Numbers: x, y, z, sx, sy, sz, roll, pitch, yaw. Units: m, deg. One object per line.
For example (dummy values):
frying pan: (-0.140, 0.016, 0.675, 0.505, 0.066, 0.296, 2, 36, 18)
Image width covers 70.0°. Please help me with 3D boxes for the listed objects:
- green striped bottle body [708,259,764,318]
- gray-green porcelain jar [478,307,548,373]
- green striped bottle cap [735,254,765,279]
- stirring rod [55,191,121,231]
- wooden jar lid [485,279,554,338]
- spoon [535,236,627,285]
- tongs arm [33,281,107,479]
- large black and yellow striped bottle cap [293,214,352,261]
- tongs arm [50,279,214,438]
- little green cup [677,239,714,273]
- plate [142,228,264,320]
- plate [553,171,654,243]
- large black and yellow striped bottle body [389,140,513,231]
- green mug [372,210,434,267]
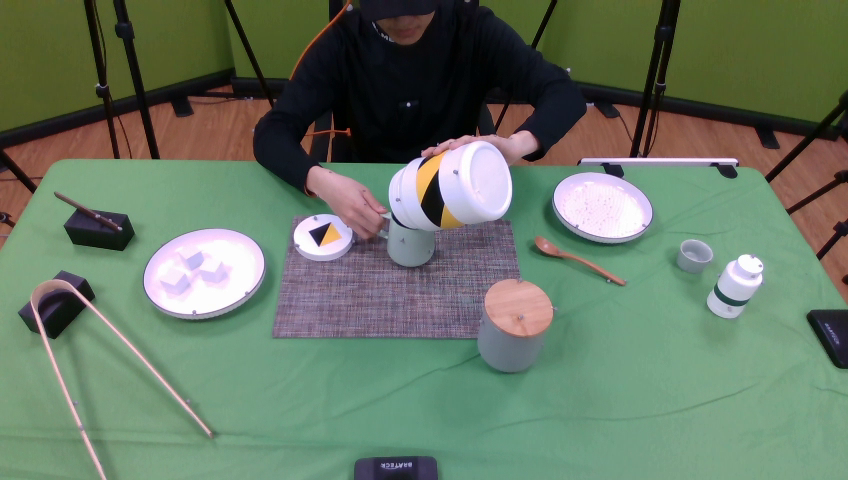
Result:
green striped bottle body: (0.563, 0.081, 1.089, 0.063, 0.120, 0.063, 2, 46, -2)
gray-green porcelain jar: (0.144, 0.148, 0.989, 0.106, 0.127, 0.105, 2, 50, -2)
green striped bottle cap: (0.566, 0.046, 1.051, 0.044, 0.020, 0.044, 0, 45, 0)
stirring rod: (-0.632, -0.055, 1.138, 0.175, 0.014, 0.006, 24, 50, 19)
wooden jar lid: (0.147, 0.108, 0.940, 0.108, 0.021, 0.107, 4, 47, -4)
spoon: (0.304, 0.040, 1.178, 0.193, 0.022, 0.041, 25, 35, 20)
tongs arm: (-0.517, 0.214, 0.910, 0.051, 0.026, 0.383, -28, 63, -27)
large black and yellow striped bottle cap: (-0.198, -0.007, 1.187, 0.115, 0.019, 0.114, 3, 47, -3)
tongs arm: (-0.459, 0.178, 0.949, 0.386, 0.028, 0.028, 37, 60, 17)
little green cup: (0.530, 0.033, 1.189, 0.061, 0.039, 0.061, 2, 47, -2)
plate: (-0.394, 0.064, 1.095, 0.208, 0.039, 0.206, 2, 46, -2)
plate: (0.373, -0.066, 1.275, 0.209, 0.038, 0.208, 2, 46, -2)
large black and yellow striped bottle body: (0.041, -0.085, 1.019, 0.183, 0.131, 0.130, -10, 32, 42)
green mug: (-0.040, -0.015, 1.145, 0.125, 0.105, 0.092, 16, 47, 11)
